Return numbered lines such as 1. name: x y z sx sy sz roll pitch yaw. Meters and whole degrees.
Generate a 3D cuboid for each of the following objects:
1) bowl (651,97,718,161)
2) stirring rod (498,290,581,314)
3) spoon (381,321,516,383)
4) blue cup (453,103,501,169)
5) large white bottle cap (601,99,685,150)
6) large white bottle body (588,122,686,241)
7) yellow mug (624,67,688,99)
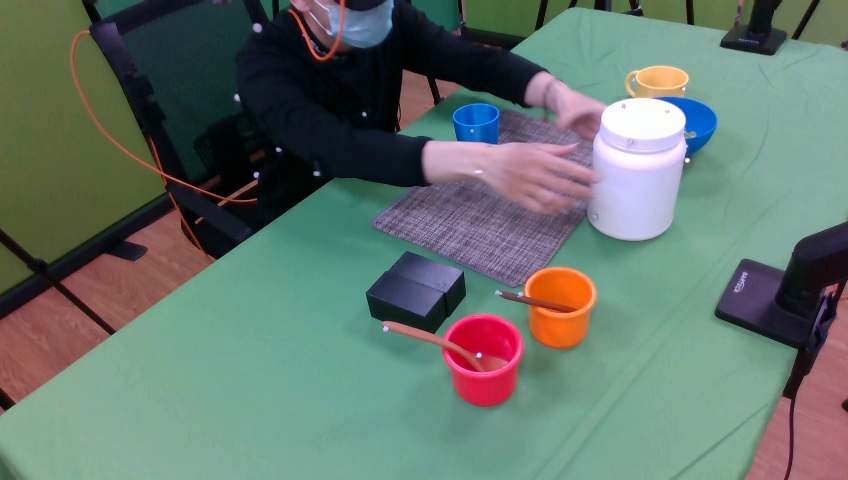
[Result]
1. bowl: 0.439 -0.187 1.087 0.151 0.077 0.150 -4 41 4
2. stirring rod: 0.152 0.080 0.771 0.178 0.006 0.014 15 20 -44
3. spoon: 0.033 0.131 0.725 0.195 0.021 0.041 29 30 -26
4. blue cup: 0.099 -0.188 1.114 0.092 0.100 0.092 -4 39 3
5. large white bottle cap: 0.314 -0.169 0.870 0.115 0.018 0.114 -4 41 4
6. large white bottle body: 0.324 -0.105 0.926 0.130 0.185 0.130 -5 41 4
7. yellow mug: 0.464 -0.305 1.230 0.100 0.064 0.129 -34 46 -27
